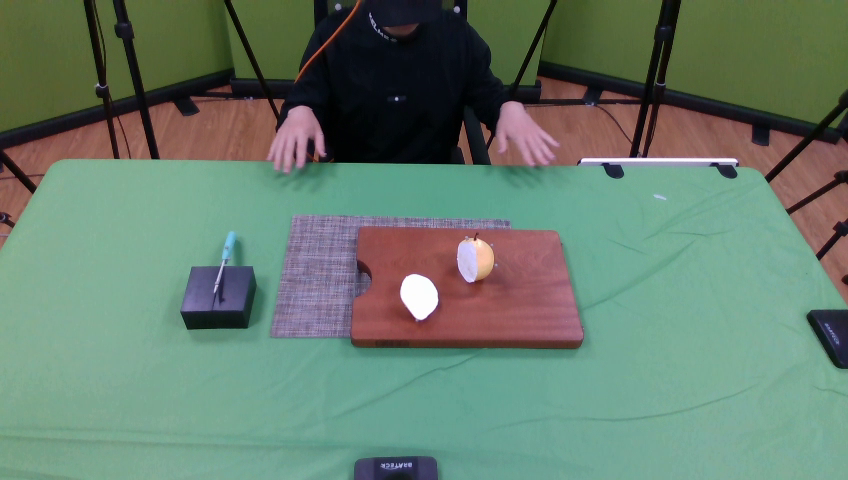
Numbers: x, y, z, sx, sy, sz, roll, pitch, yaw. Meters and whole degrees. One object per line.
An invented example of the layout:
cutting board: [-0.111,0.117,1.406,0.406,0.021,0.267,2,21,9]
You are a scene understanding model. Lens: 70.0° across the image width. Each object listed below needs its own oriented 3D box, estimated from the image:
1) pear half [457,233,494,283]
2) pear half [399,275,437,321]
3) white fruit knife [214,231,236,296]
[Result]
pear half: [0.098,0.023,1.087,0.056,0.110,0.076,-23,55,-24]
pear half: [-0.013,0.104,1.051,0.070,0.031,0.087,12,58,-15]
white fruit knife: [-0.359,0.038,1.091,0.016,0.027,0.206,5,29,-11]
